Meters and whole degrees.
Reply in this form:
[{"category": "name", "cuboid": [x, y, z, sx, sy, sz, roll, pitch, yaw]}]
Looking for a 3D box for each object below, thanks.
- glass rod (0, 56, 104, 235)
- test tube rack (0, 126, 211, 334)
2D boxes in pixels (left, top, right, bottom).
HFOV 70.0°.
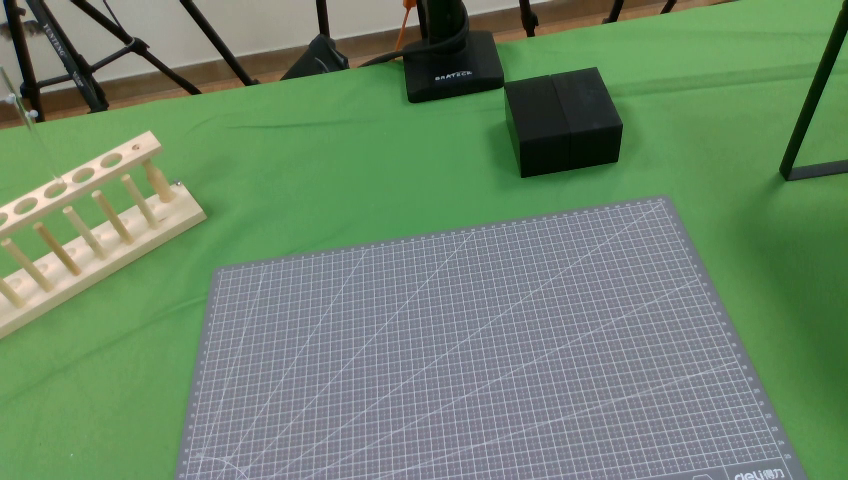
[{"category": "glass rod", "cuboid": [-0.351, -0.079, 0.577, 0.008, 0.201, 0.008, -3, 41, 3]}, {"category": "test tube rack", "cuboid": [-0.352, -0.011, 0.608, 0.242, 0.086, 0.066, -34, 52, -18]}]
